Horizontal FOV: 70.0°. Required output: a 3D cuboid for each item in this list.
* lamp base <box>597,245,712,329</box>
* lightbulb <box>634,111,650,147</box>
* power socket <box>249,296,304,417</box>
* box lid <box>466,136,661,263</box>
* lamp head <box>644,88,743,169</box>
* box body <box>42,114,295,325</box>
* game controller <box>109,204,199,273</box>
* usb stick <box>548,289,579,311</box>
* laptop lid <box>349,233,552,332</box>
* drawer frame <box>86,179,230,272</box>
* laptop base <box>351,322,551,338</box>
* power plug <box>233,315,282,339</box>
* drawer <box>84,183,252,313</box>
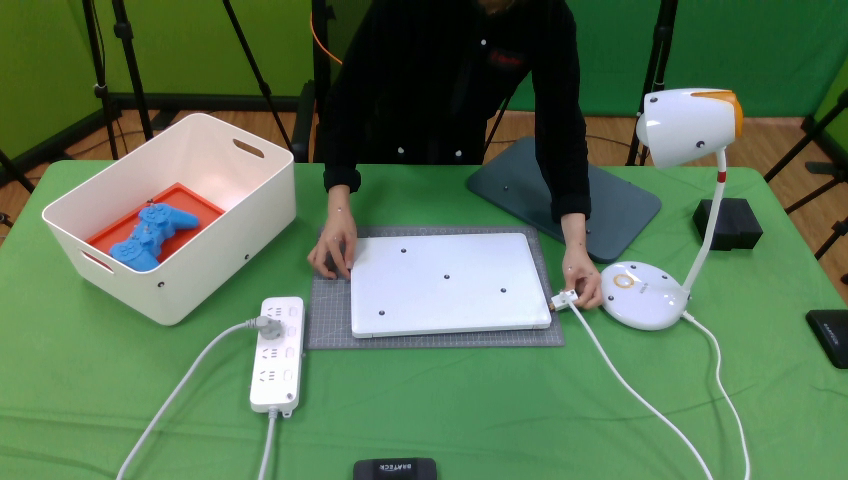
[{"bbox_3d":[0.418,0.051,1.071,0.179,0.181,0.160,22,49,13],"label":"lamp base"},{"bbox_3d":[0.348,-0.163,0.852,0.059,0.060,0.107,-36,19,-32],"label":"lightbulb"},{"bbox_3d":[-0.239,0.182,0.996,0.072,0.033,0.225,-2,47,-5],"label":"power socket"},{"bbox_3d":[0.306,-0.102,1.327,0.370,0.015,0.263,32,52,25],"label":"box lid"},{"bbox_3d":[0.380,-0.161,0.851,0.122,0.113,0.112,-4,42,25],"label":"lamp head"},{"bbox_3d":[-0.437,-0.046,1.110,0.253,0.161,0.363,24,49,19],"label":"box body"},{"bbox_3d":[-0.467,-0.005,1.043,0.097,0.052,0.154,8,45,11],"label":"game controller"},{"bbox_3d":[0.247,0.110,1.091,0.059,0.027,0.021,-24,67,5],"label":"usb stick"},{"bbox_3d":[0.040,0.070,1.119,0.357,0.013,0.240,-1,44,-5],"label":"laptop lid"},{"bbox_3d":[-0.453,0.010,1.100,0.201,0.083,0.213,28,54,23],"label":"drawer frame"},{"bbox_3d":[0.040,0.081,1.126,0.355,0.023,0.234,-2,43,-6],"label":"laptop base"},{"bbox_3d":[-0.271,0.144,1.000,0.072,0.053,0.035,6,47,3],"label":"power plug"},{"bbox_3d":[-0.457,0.008,1.099,0.194,0.073,0.211,29,49,21],"label":"drawer"}]
